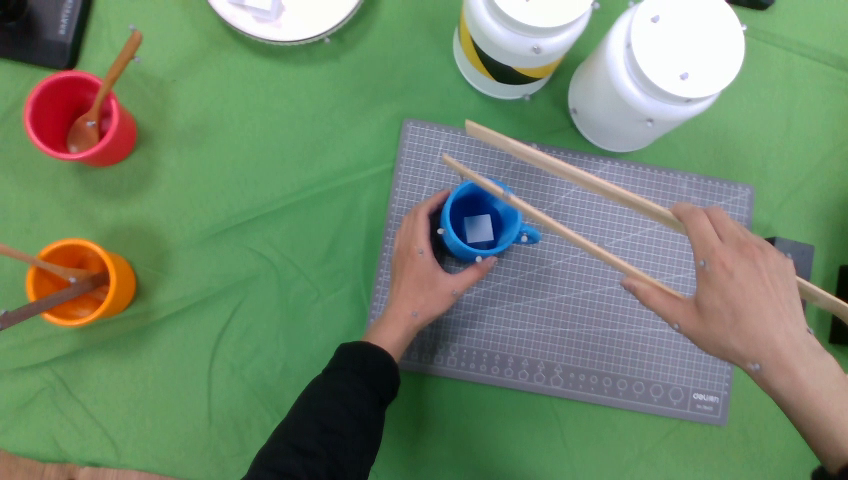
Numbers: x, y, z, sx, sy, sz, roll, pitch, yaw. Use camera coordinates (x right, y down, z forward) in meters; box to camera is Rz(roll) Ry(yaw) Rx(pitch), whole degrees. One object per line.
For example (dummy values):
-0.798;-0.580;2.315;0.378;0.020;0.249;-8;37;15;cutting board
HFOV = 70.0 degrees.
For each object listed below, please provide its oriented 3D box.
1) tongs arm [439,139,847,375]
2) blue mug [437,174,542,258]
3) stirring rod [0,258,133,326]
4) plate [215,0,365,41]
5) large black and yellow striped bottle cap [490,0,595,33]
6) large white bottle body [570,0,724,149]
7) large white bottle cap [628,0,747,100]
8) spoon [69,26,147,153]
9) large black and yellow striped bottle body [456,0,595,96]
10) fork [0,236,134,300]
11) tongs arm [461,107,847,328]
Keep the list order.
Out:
0.180;0.001;0.516;0.383;0.027;0.050;35;80;15;tongs arm
0.076;-0.019;0.683;0.117;0.106;0.082;16;83;-3;blue mug
-0.384;0.058;0.627;0.176;0.006;0.014;-34;92;-49;stirring rod
-0.160;-0.337;0.727;0.208;0.039;0.207;0;85;-4;plate
0.115;-0.259;0.585;0.115;0.019;0.115;0;86;-5;large black and yellow striped bottle cap
0.250;-0.185;0.672;0.131;0.185;0.130;0;85;-4;large white bottle body
0.256;-0.194;0.589;0.115;0.018;0.114;1;85;-5;large white bottle cap
-0.338;-0.157;0.646;0.194;0.021;0.041;-37;83;37;spoon
0.109;-0.249;0.667;0.131;0.184;0.130;0;84;-4;large black and yellow striped bottle body
-0.400;0.016;0.624;0.209;0.018;0.028;35;79;-44;fork
0.194;-0.020;0.520;0.385;0.028;0.028;32;76;14;tongs arm
